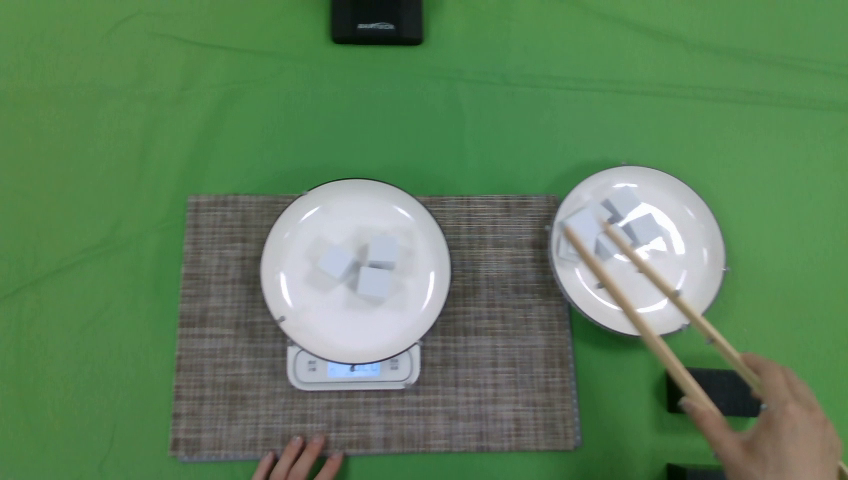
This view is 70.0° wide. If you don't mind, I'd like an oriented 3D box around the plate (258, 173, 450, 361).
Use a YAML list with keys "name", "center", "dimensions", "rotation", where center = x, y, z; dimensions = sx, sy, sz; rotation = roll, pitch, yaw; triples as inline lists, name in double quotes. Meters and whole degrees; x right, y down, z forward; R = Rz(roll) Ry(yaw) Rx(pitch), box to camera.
- name: "plate"
  center: [-0.076, 0.029, 0.671]
  dimensions: [0.209, 0.038, 0.208]
  rotation: [1, 77, -3]

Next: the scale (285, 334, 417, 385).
- name: "scale"
  center: [-0.082, 0.065, 0.696]
  dimensions: [0.149, 0.031, 0.200]
  rotation: [1, 77, -3]

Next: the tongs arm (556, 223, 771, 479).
- name: "tongs arm"
  center: [0.244, 0.130, 0.550]
  dimensions: [0.028, 0.028, 0.384]
  rotation: [-30, 67, -14]

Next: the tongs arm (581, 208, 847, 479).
- name: "tongs arm"
  center: [0.263, 0.118, 0.554]
  dimensions: [0.051, 0.027, 0.381]
  rotation: [-36, 68, -13]

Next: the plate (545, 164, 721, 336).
- name: "plate"
  center: [0.246, 0.013, 0.726]
  dimensions: [0.208, 0.039, 0.206]
  rotation: [1, 77, -3]
